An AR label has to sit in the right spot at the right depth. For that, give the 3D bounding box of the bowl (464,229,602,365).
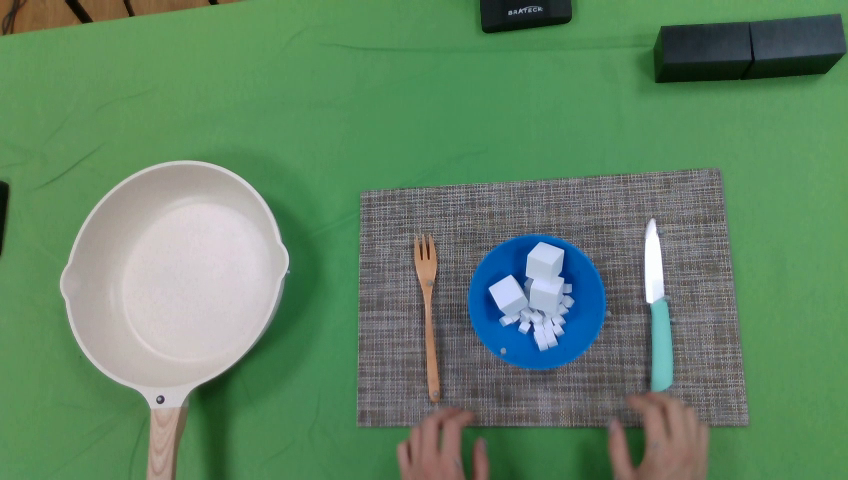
[{"bbox_3d":[0.124,0.069,0.698,0.151,0.077,0.150,-2,78,9],"label":"bowl"}]

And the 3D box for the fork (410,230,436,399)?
[{"bbox_3d":[0.001,0.089,0.744,0.028,0.019,0.206,-4,76,1],"label":"fork"}]

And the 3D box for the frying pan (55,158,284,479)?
[{"bbox_3d":[-0.312,0.139,0.744,0.306,0.103,0.484,-5,69,9],"label":"frying pan"}]

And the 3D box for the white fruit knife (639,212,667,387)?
[{"bbox_3d":[0.267,0.066,0.708,0.027,0.016,0.206,2,78,-2],"label":"white fruit knife"}]
